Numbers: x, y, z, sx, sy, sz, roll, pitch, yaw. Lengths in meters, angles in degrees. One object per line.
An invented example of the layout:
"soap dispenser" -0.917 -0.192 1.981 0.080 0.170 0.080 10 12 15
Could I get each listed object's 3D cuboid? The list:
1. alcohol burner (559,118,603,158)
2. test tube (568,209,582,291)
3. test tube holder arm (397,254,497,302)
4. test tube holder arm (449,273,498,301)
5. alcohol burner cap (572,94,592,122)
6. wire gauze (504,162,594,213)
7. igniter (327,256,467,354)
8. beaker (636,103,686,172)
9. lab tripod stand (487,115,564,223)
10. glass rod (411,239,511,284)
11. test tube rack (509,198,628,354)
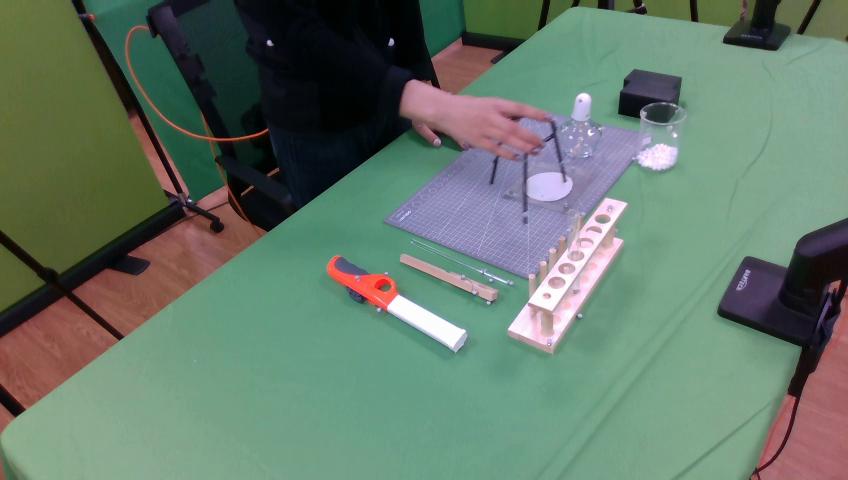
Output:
"alcohol burner" 0.287 -0.212 1.104 0.078 0.119 0.077 -4 40 4
"test tube" 0.200 0.018 0.799 0.017 0.151 0.017 -8 45 8
"test tube holder arm" 0.031 0.055 0.912 0.177 0.015 0.013 21 11 30
"test tube holder arm" 0.070 0.069 0.894 0.087 0.015 0.010 21 11 31
"alcohol burner cap" 0.284 -0.238 1.079 0.034 0.048 0.033 -1 48 2
"wire gauze" 0.220 -0.098 1.065 0.124 0.011 0.122 17 47 32
"igniter" -0.051 0.088 0.886 0.274 0.025 0.057 27 62 35
"beaker" 0.413 -0.177 1.055 0.084 0.101 0.073 -28 44 -21
"lab tripod stand" 0.161 -0.122 0.963 0.148 0.132 0.147 -4 40 4
"glass rod" 0.053 0.033 0.946 0.198 0.008 0.008 23 50 36
"test tube rack" 0.206 0.039 0.850 0.066 0.085 0.243 20 48 31
